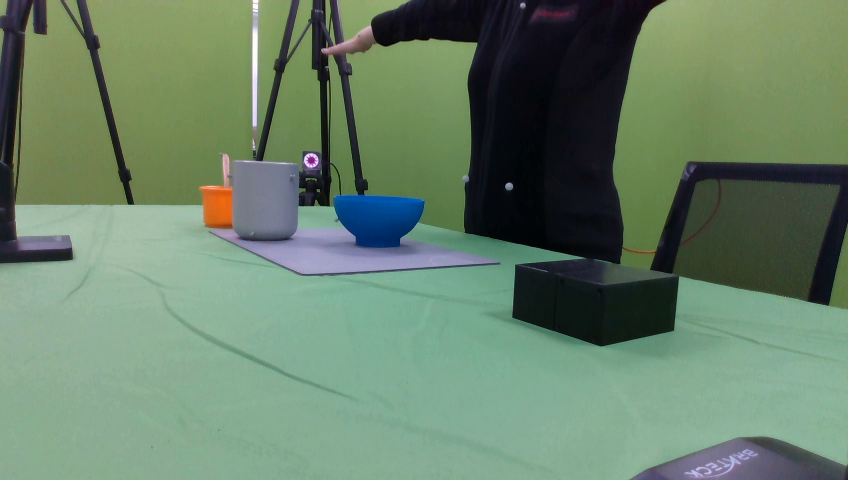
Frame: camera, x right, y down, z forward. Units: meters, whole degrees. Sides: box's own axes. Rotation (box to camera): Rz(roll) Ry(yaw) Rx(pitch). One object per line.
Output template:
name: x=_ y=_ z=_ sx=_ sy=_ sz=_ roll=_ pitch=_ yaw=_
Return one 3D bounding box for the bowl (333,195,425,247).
bowl: x=-0.074 y=-0.031 z=0.987 sx=0.151 sy=0.077 sz=0.151 roll=2 pitch=7 yaw=0

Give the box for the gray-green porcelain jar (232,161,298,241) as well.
gray-green porcelain jar: x=-0.262 y=-0.065 z=0.999 sx=0.106 sy=0.126 sz=0.106 roll=3 pitch=7 yaw=0

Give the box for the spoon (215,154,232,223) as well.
spoon: x=-0.389 y=-0.104 z=1.194 sx=0.042 sy=0.193 sz=0.021 roll=2 pitch=-37 yaw=-19
